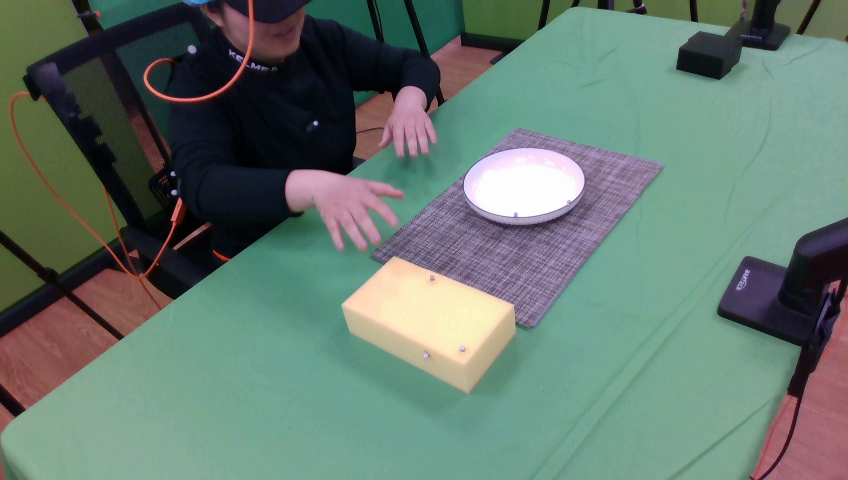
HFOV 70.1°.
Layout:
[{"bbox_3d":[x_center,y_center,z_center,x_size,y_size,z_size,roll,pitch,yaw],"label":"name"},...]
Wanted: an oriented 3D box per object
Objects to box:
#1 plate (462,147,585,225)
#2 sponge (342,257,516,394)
[{"bbox_3d":[0.170,-0.089,1.041,0.207,0.039,0.206,-5,40,5],"label":"plate"},{"bbox_3d":[0.006,0.109,0.827,0.205,0.061,0.118,20,48,30],"label":"sponge"}]
